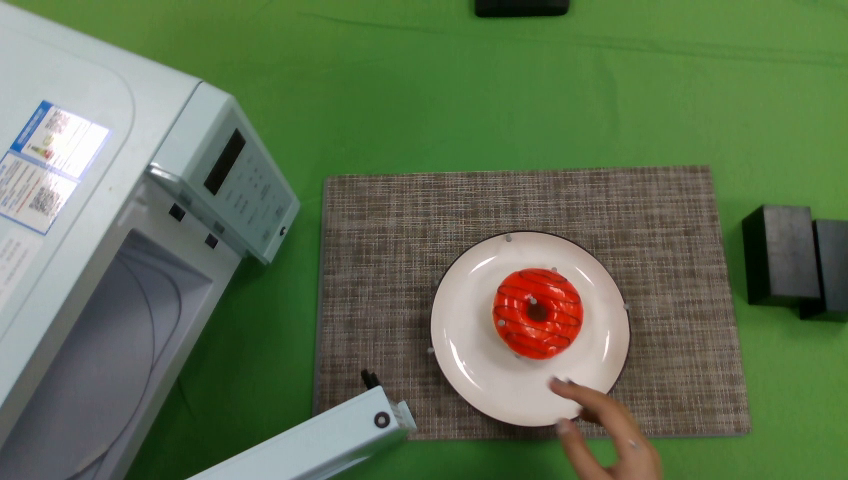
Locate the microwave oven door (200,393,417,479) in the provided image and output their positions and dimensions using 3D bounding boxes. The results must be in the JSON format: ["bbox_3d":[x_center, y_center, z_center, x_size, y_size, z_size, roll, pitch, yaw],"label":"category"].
[{"bbox_3d":[-0.178,0.216,0.493,0.356,0.245,0.039,-25,73,-6],"label":"microwave oven door"}]

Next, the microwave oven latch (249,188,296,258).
[{"bbox_3d":[-0.170,-0.022,0.672,0.030,0.029,0.079,22,76,8],"label":"microwave oven latch"}]

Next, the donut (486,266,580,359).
[{"bbox_3d":[0.114,0.075,0.636,0.099,0.048,0.098,0,74,-1],"label":"donut"}]

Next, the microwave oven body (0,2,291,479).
[{"bbox_3d":[-0.381,0.049,0.555,0.325,0.261,0.440,22,76,8],"label":"microwave oven body"}]

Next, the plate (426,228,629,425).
[{"bbox_3d":[0.107,0.090,0.644,0.209,0.038,0.208,0,73,1],"label":"plate"}]
